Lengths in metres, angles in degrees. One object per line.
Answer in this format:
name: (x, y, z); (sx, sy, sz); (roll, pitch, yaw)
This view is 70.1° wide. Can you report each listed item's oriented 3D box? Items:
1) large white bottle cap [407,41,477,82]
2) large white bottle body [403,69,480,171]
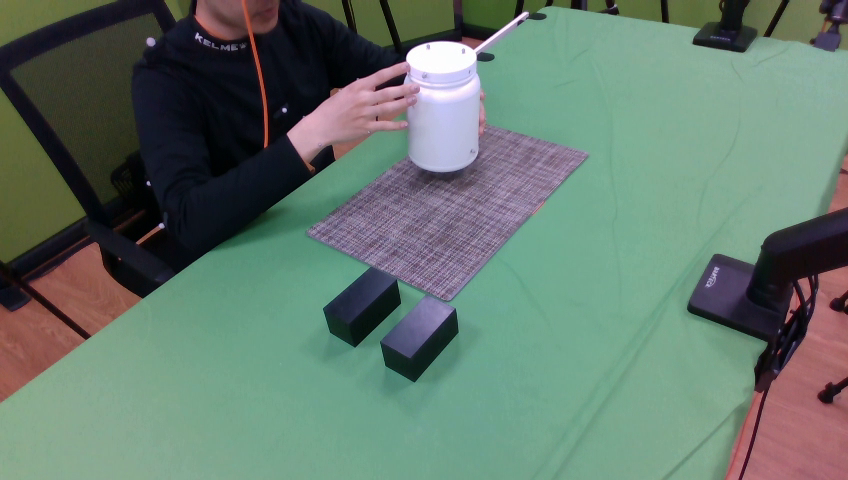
large white bottle cap: (0.028, -0.291, 0.982); (0.115, 0.018, 0.114); (-1, 42, 2)
large white bottle body: (0.031, -0.227, 1.040); (0.130, 0.185, 0.130); (-1, 42, 2)
